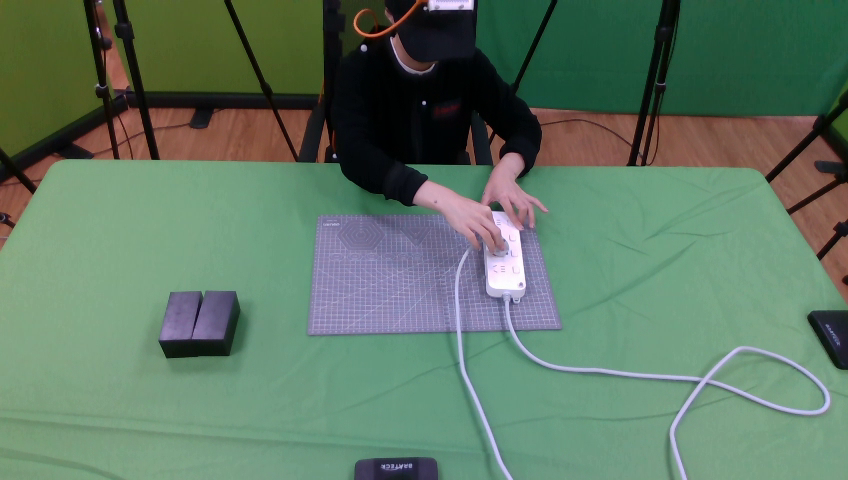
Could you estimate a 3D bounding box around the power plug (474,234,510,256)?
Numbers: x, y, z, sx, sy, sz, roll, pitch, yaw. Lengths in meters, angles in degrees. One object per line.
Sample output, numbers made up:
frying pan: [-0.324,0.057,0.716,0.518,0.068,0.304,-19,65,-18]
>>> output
power plug: [0.127,0.008,1.144,0.072,0.053,0.035,16,48,1]

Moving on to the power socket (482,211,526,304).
power socket: [0.153,0.024,1.174,0.072,0.033,0.225,2,46,0]
